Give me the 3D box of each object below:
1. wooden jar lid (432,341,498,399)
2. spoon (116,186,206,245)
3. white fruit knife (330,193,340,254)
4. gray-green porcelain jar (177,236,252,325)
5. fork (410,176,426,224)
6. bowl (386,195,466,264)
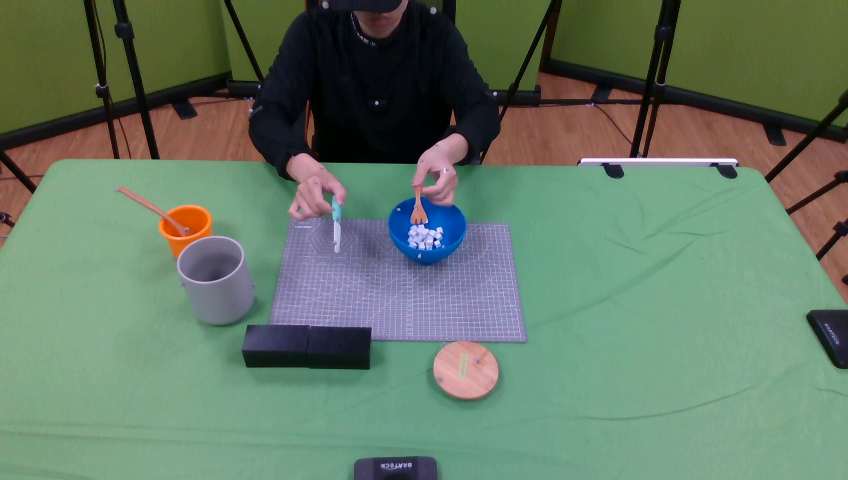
[{"bbox_3d":[0.067,0.216,0.997,0.108,0.021,0.107,1,46,-1],"label":"wooden jar lid"},{"bbox_3d":[-0.474,-0.041,1.112,0.021,0.195,0.041,-31,31,29],"label":"spoon"},{"bbox_3d":[-0.156,-0.033,1.072,0.016,0.027,0.206,-25,32,7],"label":"white fruit knife"},{"bbox_3d":[-0.350,0.073,1.027,0.106,0.127,0.105,3,46,-3],"label":"gray-green porcelain jar"},{"bbox_3d":[-0.012,-0.073,1.068,0.028,0.019,0.206,-12,30,5],"label":"fork"},{"bbox_3d":[0.002,-0.007,1.162,0.151,0.077,0.150,2,46,-2],"label":"bowl"}]
